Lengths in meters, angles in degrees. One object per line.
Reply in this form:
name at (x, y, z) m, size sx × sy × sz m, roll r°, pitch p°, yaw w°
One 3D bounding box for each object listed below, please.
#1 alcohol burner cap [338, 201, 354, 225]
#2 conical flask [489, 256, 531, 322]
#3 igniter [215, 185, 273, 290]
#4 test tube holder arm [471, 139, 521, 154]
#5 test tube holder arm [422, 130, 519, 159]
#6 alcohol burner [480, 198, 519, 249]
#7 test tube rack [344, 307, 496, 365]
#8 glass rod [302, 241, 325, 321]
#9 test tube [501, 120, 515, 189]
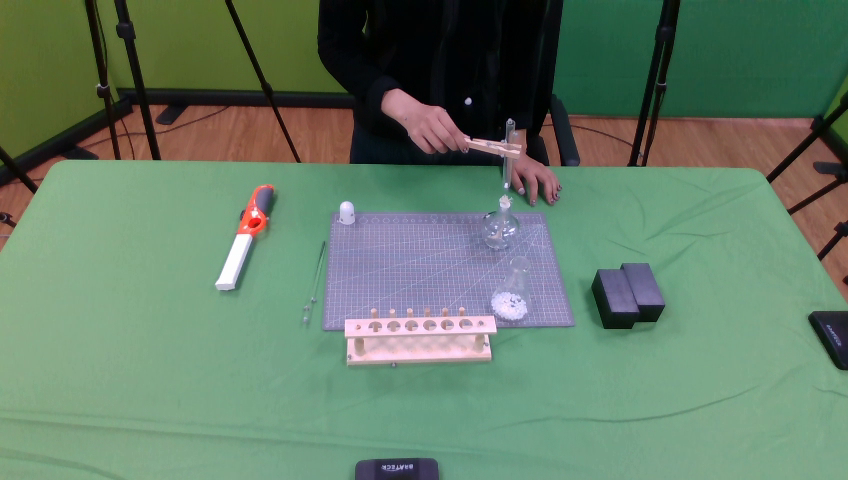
alcohol burner cap at (-0.159, -0.056, 1.224) m, size 0.034 × 0.048 × 0.033 m, roll 2°, pitch 46°, yaw -2°
conical flask at (0.158, 0.081, 1.061) m, size 0.075 × 0.122 × 0.075 m, roll 2°, pitch 46°, yaw -2°
igniter at (-0.348, -0.014, 1.182) m, size 0.057 × 0.025 × 0.275 m, roll -1°, pitch 45°, yaw 8°
test tube holder arm at (0.126, -0.164, 1.064) m, size 0.088 × 0.015 × 0.010 m, roll 9°, pitch 46°, yaw 9°
test tube holder arm at (0.081, -0.170, 1.070) m, size 0.178 × 0.015 × 0.013 m, roll 14°, pitch 47°, yaw 14°
alcohol burner at (0.150, -0.038, 1.182) m, size 0.078 × 0.119 × 0.077 m, roll 3°, pitch 47°, yaw -3°
test tube rack at (-0.009, 0.154, 1.007) m, size 0.242 × 0.085 × 0.066 m, roll -1°, pitch 46°, yaw -5°
glass rod at (-0.203, 0.072, 1.124) m, size 0.008 × 0.008 × 0.198 m, roll 4°, pitch 43°, yaw 1°
test tube at (0.147, -0.147, 1.067) m, size 0.017 × 0.151 × 0.017 m, roll -2°, pitch 48°, yaw 2°
